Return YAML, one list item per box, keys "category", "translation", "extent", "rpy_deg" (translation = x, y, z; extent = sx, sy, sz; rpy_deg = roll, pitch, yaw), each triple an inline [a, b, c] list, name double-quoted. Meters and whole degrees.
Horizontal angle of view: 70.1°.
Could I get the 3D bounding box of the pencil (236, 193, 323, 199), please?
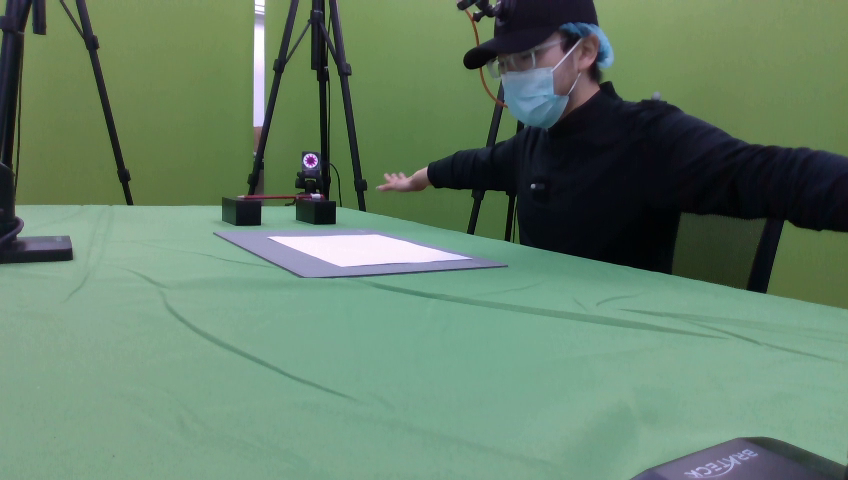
- category: "pencil"
  translation: [-0.302, -0.092, 1.280]
  extent: [0.195, 0.012, 0.012]
  rpy_deg: [-4, 10, -36]
